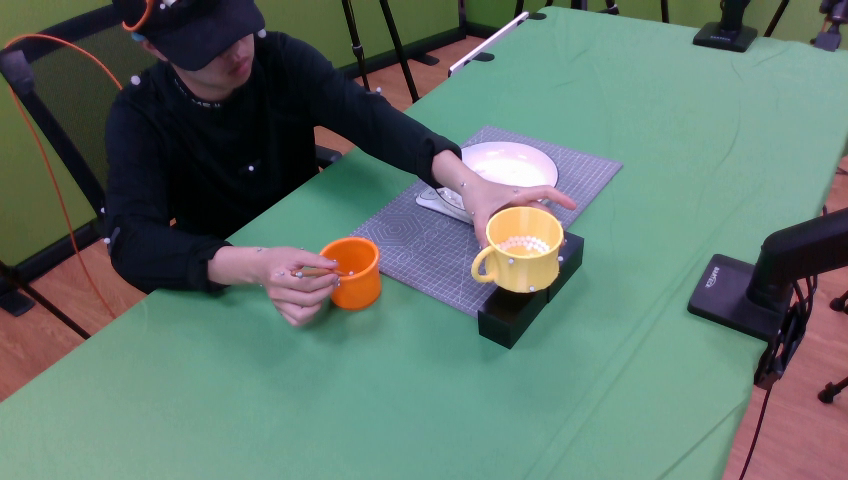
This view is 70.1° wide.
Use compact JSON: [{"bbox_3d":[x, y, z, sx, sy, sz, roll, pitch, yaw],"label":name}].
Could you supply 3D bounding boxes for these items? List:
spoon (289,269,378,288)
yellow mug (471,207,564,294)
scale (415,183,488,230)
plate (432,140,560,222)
[{"bbox_3d":[-0.122,0.050,0.829,0.041,0.195,0.021,17,89,27],"label":"spoon"},{"bbox_3d":[0.117,0.018,0.788,0.131,0.064,0.099,-24,46,-20],"label":"yellow mug"},{"bbox_3d":[0.099,-0.080,1.035,0.199,0.032,0.149,23,48,31],"label":"scale"},{"bbox_3d":[0.118,-0.094,0.999,0.209,0.038,0.208,-5,41,5],"label":"plate"}]
